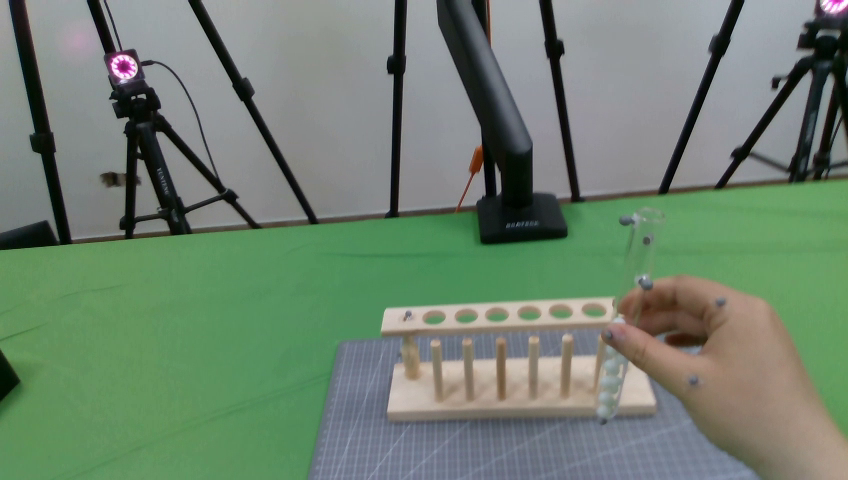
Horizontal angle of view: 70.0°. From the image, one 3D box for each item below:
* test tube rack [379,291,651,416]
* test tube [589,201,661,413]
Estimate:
[{"bbox_3d":[0.082,0.106,0.564,0.242,0.086,0.066,-3,32,6],"label":"test tube rack"},{"bbox_3d":[0.116,0.046,0.357,0.017,0.151,0.017,1,31,0],"label":"test tube"}]
